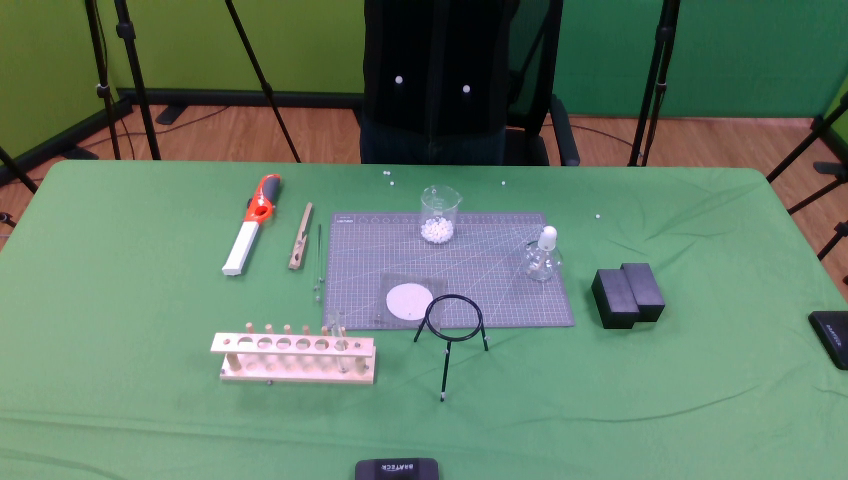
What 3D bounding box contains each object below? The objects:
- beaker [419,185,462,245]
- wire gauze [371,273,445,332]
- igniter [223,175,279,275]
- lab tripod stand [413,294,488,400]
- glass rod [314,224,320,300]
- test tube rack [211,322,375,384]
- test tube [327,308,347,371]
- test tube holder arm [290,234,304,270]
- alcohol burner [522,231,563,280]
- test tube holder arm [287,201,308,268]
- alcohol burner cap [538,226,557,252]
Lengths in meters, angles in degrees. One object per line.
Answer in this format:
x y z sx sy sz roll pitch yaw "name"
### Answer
0.029 -0.047 1.191 0.084 0.101 0.073 -5 47 -10 "beaker"
-0.028 0.108 1.100 0.125 0.011 0.121 7 45 4 "wire gauze"
-0.341 -0.039 1.206 0.057 0.025 0.275 -1 45 8 "igniter"
0.044 0.159 0.972 0.148 0.132 0.147 2 44 -2 "lab tripod stand"
-0.204 0.038 1.156 0.008 0.008 0.198 -2 44 -6 "glass rod"
-0.203 0.176 0.969 0.242 0.085 0.066 3 46 -2 "test tube rack"
-0.132 0.155 0.926 0.017 0.151 0.017 0 45 0 "test tube"
-0.243 0.021 1.164 0.010 0.015 0.087 30 38 -26 "test tube holder arm"
0.224 0.020 1.131 0.078 0.119 0.077 4 46 -4 "alcohol burner"
-0.247 -0.014 1.193 0.013 0.015 0.177 29 39 -27 "test tube holder arm"
0.226 -0.004 1.104 0.034 0.048 0.033 -1 50 1 "alcohol burner cap"
